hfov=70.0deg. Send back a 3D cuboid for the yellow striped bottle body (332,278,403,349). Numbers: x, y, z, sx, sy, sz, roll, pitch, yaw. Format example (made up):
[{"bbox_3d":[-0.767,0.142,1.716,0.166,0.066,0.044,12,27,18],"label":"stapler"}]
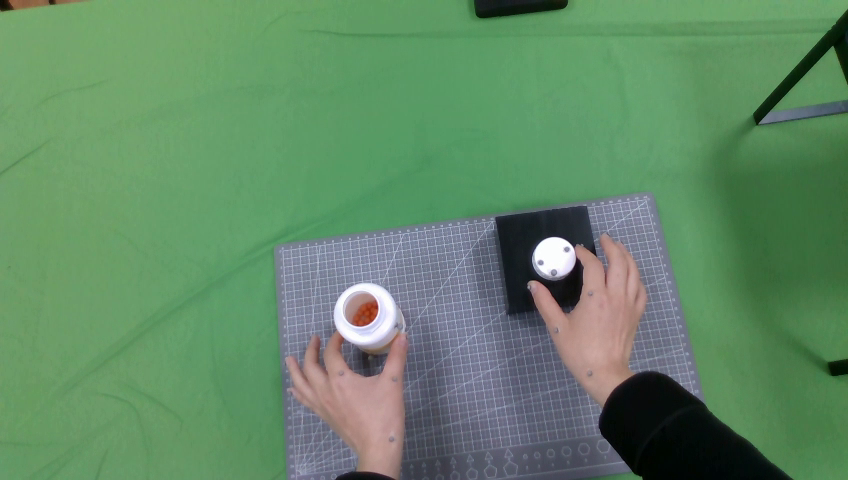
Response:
[{"bbox_3d":[-0.057,0.076,0.627,0.063,0.121,0.062,-1,74,3],"label":"yellow striped bottle body"}]

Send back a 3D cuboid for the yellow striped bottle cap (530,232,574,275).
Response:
[{"bbox_3d":[0.135,0.014,0.635,0.044,0.019,0.044,0,78,1],"label":"yellow striped bottle cap"}]
